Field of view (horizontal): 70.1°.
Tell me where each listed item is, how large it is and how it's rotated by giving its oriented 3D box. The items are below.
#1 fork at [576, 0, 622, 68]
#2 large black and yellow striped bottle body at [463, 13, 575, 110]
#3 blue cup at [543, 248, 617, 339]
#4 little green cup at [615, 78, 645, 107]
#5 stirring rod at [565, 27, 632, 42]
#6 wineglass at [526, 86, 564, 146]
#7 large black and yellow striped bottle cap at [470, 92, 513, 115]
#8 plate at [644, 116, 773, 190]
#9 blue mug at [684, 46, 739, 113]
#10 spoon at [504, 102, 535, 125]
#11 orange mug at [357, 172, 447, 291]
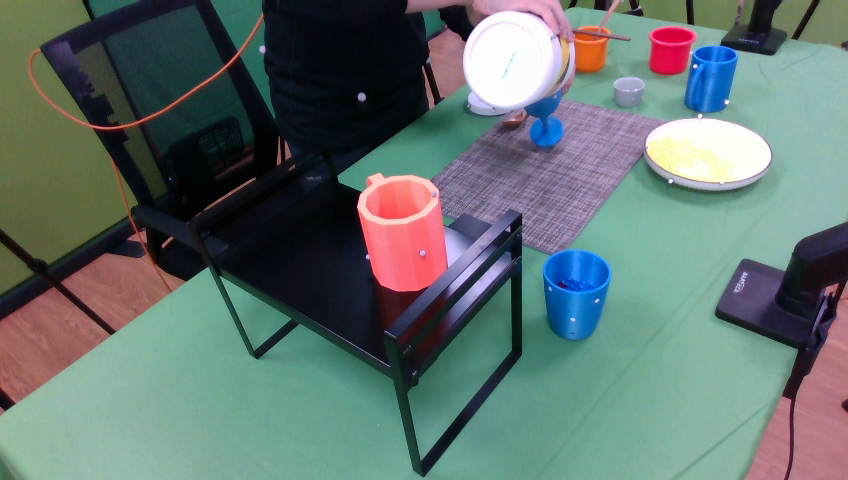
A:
[{"bbox_3d":[0.409,-0.484,1.381,0.028,0.019,0.207,37,101,46],"label":"fork"},{"bbox_3d":[0.151,-0.271,0.905,0.130,0.131,0.184,13,24,23],"label":"large black and yellow striped bottle body"},{"bbox_3d":[0.199,0.076,0.797,0.092,0.100,0.092,-4,39,4],"label":"blue cup"},{"bbox_3d":[0.426,-0.306,1.257,0.061,0.039,0.061,-4,40,4],"label":"little green cup"},{"bbox_3d":[0.381,-0.463,1.356,0.175,0.006,0.014,22,47,30],"label":"stirring rod"},{"bbox_3d":[0.215,-0.239,1.079,0.073,0.173,0.073,-5,68,13],"label":"wineglass"},{"bbox_3d":[0.156,-0.307,1.316,0.115,0.019,0.114,-7,39,6],"label":"large black and yellow striped bottle cap"},{"bbox_3d":[0.495,-0.149,1.063,0.209,0.038,0.208,-5,40,4],"label":"plate"},{"bbox_3d":[0.556,-0.310,1.190,0.117,0.106,0.081,-32,46,-25],"label":"blue mug"},{"bbox_3d":[0.227,-0.285,1.269,0.041,0.022,0.194,1,36,45],"label":"spoon"},{"bbox_3d":[-0.030,-0.018,0.669,0.084,0.101,0.125,-23,47,-16],"label":"orange mug"}]
